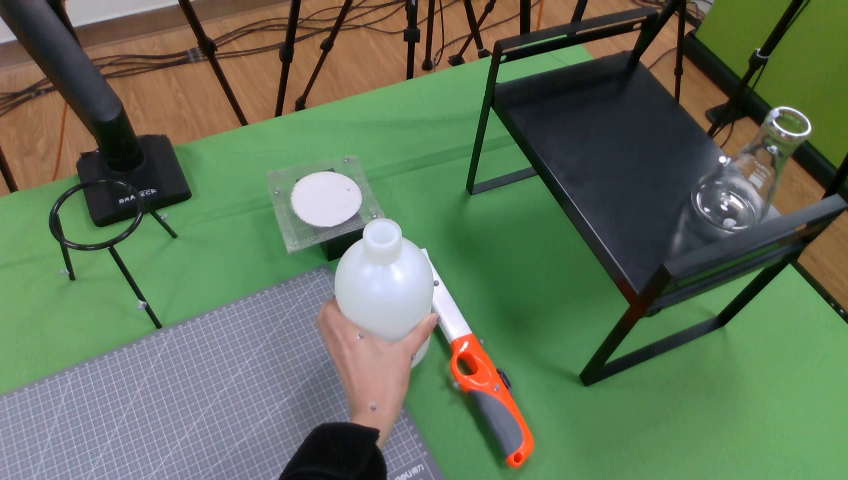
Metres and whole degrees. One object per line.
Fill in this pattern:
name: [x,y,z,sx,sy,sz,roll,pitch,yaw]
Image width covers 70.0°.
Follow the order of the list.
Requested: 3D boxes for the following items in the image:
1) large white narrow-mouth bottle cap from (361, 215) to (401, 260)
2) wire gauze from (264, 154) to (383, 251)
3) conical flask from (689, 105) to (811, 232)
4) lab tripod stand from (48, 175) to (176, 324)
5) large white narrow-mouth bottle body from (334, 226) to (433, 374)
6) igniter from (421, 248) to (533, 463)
large white narrow-mouth bottle cap: [-0.039,-0.002,0.547,0.038,0.024,0.037,1,52,-1]
wire gauze: [-0.124,-0.053,0.741,0.122,0.011,0.124,-16,59,-16]
conical flask: [0.310,-0.069,0.570,0.075,0.123,0.074,3,55,-4]
lab tripod stand: [-0.332,0.007,0.661,0.148,0.132,0.147,4,56,-6]
large white narrow-mouth bottle body: [-0.041,0.052,0.614,0.102,0.196,0.101,1,52,-1]
igniter: [0.045,0.121,0.689,0.057,0.025,0.274,-14,58,-27]
